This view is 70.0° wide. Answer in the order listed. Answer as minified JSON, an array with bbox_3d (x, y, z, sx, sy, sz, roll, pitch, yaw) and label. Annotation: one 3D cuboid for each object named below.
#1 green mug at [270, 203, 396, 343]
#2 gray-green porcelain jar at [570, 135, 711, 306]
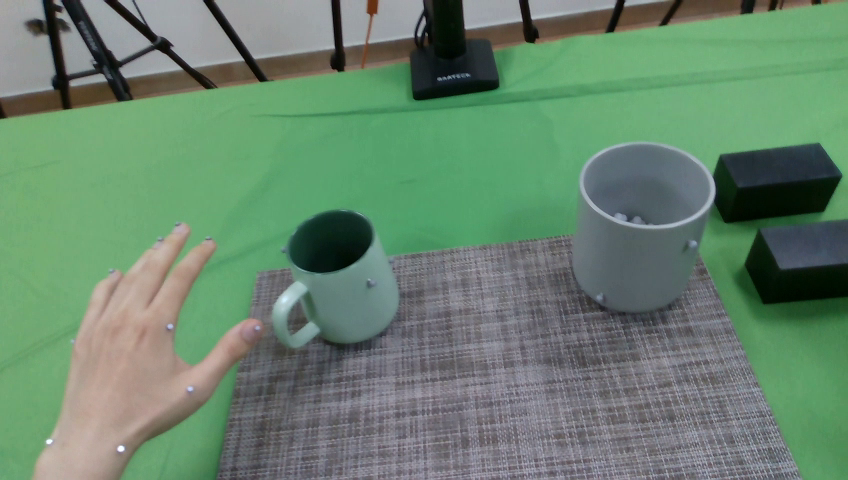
[{"bbox_3d":[-0.087,0.041,0.550,0.092,0.106,0.125,27,58,28],"label":"green mug"},{"bbox_3d":[0.184,-0.011,0.537,0.106,0.128,0.105,-5,48,6],"label":"gray-green porcelain jar"}]
